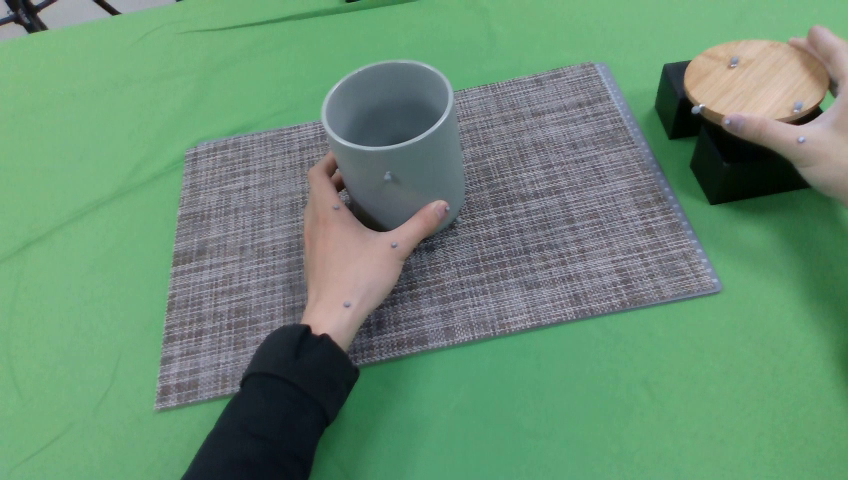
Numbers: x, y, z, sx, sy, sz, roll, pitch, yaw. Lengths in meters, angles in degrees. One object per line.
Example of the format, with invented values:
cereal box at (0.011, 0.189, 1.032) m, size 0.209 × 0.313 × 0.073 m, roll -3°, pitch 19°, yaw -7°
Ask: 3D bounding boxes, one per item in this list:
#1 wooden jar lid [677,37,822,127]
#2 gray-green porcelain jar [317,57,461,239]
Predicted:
wooden jar lid at (0.269, -0.131, 0.506) m, size 0.108 × 0.021 × 0.107 m, roll -7°, pitch 51°, yaw 9°
gray-green porcelain jar at (-0.023, -0.071, 0.516) m, size 0.106 × 0.128 × 0.105 m, roll -4°, pitch 53°, yaw 6°
